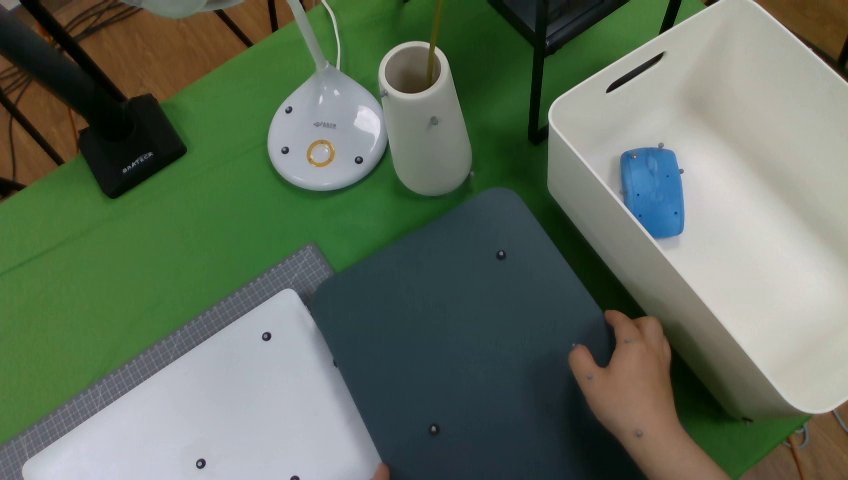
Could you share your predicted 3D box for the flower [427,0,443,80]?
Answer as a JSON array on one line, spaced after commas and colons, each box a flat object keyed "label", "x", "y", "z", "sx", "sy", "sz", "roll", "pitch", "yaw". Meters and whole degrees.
[{"label": "flower", "x": 0.008, "y": -0.174, "z": 0.604, "sx": 0.038, "sy": 0.364, "sz": 0.043, "roll": -20, "pitch": 57, "yaw": -19}]

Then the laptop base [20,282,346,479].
[{"label": "laptop base", "x": -0.235, "y": 0.233, "z": 0.654, "sx": 0.354, "sy": 0.023, "sz": 0.234, "roll": -35, "pitch": 75, "yaw": -7}]

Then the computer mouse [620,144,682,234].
[{"label": "computer mouse", "x": 0.262, "y": -0.062, "z": 0.700, "sx": 0.062, "sy": 0.041, "sz": 0.116, "roll": 1, "pitch": 65, "yaw": 10}]

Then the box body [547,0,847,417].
[{"label": "box body", "x": 0.322, "y": -0.031, "z": 0.620, "sx": 0.254, "sy": 0.161, "sz": 0.361, "roll": -32, "pitch": 69, "yaw": -6}]

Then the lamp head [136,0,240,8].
[{"label": "lamp head", "x": -0.175, "y": -0.239, "z": 0.426, "sx": 0.112, "sy": 0.112, "sz": 0.122, "roll": -6, "pitch": 86, "yaw": 5}]

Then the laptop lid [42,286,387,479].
[{"label": "laptop lid", "x": -0.234, "y": 0.232, "z": 0.646, "sx": 0.357, "sy": 0.013, "sz": 0.240, "roll": -33, "pitch": 71, "yaw": -6}]

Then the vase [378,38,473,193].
[{"label": "vase", "x": 0.001, "y": -0.133, "z": 0.677, "sx": 0.098, "sy": 0.201, "sz": 0.097, "roll": -3, "pitch": 67, "yaw": 8}]

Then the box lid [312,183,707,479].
[{"label": "box lid", "x": 0.066, "y": 0.132, "z": 0.604, "sx": 0.263, "sy": 0.015, "sz": 0.368, "roll": -30, "pitch": 67, "yaw": -3}]

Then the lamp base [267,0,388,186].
[{"label": "lamp base", "x": -0.135, "y": -0.182, "z": 0.723, "sx": 0.160, "sy": 0.182, "sz": 0.178, "roll": -3, "pitch": 66, "yaw": 6}]
